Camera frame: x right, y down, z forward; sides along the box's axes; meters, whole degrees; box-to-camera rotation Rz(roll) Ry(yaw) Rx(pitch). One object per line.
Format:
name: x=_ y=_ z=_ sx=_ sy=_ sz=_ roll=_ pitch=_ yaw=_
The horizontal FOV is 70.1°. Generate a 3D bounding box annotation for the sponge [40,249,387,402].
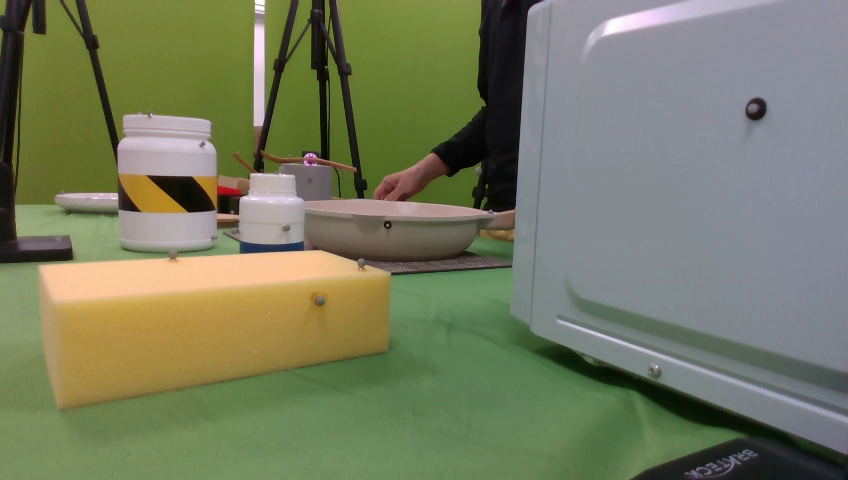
sponge: x=-0.142 y=0.047 z=0.420 sx=0.208 sy=0.061 sz=0.117 roll=-3 pitch=8 yaw=-36

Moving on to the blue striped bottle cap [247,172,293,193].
blue striped bottle cap: x=-0.152 y=-0.057 z=0.598 sx=0.044 sy=0.020 sz=0.044 roll=3 pitch=6 yaw=0

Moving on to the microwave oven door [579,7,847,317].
microwave oven door: x=0.294 y=-0.067 z=0.570 sx=0.358 sy=0.243 sz=0.039 roll=-3 pitch=9 yaw=-31

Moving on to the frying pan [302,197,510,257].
frying pan: x=0.050 y=-0.035 z=0.915 sx=0.487 sy=0.102 sz=0.307 roll=-5 pitch=7 yaw=10

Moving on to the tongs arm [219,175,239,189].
tongs arm: x=-0.286 y=-0.105 z=1.445 sx=0.389 sy=0.027 sz=0.028 roll=10 pitch=-4 yaw=-24

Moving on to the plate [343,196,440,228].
plate: x=-0.070 y=-0.059 z=1.289 sx=0.208 sy=0.039 sz=0.207 roll=7 pitch=11 yaw=-1

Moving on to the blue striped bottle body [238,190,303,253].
blue striped bottle body: x=-0.153 y=-0.007 z=0.606 sx=0.063 sy=0.120 sz=0.063 roll=2 pitch=7 yaw=0

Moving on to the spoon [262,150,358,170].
spoon: x=-0.229 y=-0.161 z=1.222 sx=0.194 sy=0.021 sz=0.041 roll=4 pitch=4 yaw=-16

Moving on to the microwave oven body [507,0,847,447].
microwave oven body: x=0.331 y=-0.042 z=0.425 sx=0.444 sy=0.260 sz=0.324 roll=-2 pitch=8 yaw=-31

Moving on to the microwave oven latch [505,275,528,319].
microwave oven latch: x=0.100 y=0.041 z=0.471 sx=0.079 sy=0.029 sz=0.030 roll=-1 pitch=7 yaw=-28

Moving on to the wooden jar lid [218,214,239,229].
wooden jar lid: x=-0.404 y=-0.037 z=1.169 sx=0.108 sy=0.020 sz=0.108 roll=3 pitch=7 yaw=0

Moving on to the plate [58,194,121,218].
plate: x=-0.671 y=-0.074 z=1.310 sx=0.209 sy=0.038 sz=0.209 roll=2 pitch=8 yaw=0

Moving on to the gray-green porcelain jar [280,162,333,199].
gray-green porcelain jar: x=-0.238 y=-0.092 z=1.221 sx=0.106 sy=0.126 sz=0.106 roll=2 pitch=7 yaw=0

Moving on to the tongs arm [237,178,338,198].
tongs arm: x=-0.243 y=-0.095 z=1.375 sx=0.387 sy=0.026 sz=0.050 roll=9 pitch=0 yaw=-37

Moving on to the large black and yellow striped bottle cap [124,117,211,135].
large black and yellow striped bottle cap: x=-0.366 y=-0.163 z=0.866 sx=0.115 sy=0.019 sz=0.115 roll=3 pitch=7 yaw=0

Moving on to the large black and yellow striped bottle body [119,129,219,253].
large black and yellow striped bottle body: x=-0.367 y=-0.080 z=0.876 sx=0.131 sy=0.184 sz=0.130 roll=2 pitch=7 yaw=0

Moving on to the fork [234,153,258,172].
fork: x=-0.396 y=-0.143 z=1.486 sx=0.028 sy=0.018 sz=0.208 roll=21 pitch=-26 yaw=45
